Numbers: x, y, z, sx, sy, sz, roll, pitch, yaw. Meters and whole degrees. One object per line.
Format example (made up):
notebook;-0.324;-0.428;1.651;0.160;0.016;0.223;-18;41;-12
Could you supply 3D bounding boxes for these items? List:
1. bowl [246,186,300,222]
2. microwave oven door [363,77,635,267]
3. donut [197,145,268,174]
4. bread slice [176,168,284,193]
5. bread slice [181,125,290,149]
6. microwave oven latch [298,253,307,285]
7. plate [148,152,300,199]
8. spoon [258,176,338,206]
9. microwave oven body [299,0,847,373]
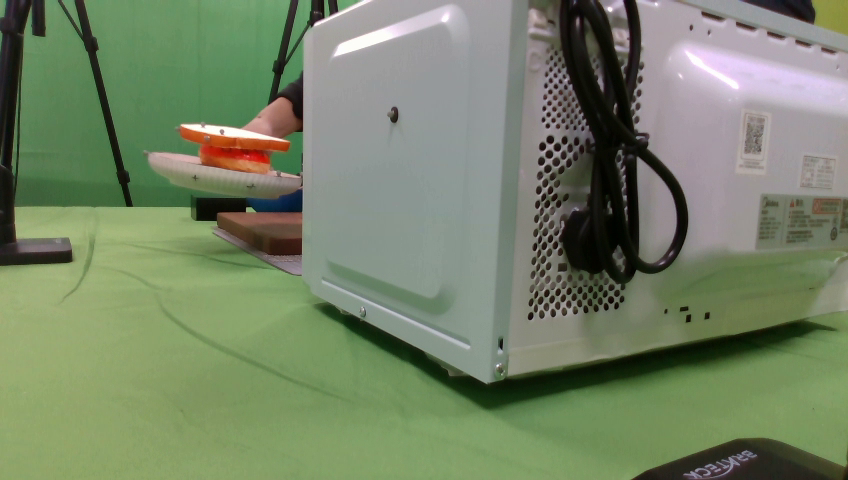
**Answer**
bowl;-0.321;-0.081;1.334;0.151;0.077;0.151;3;7;0
microwave oven door;0.091;-0.098;0.823;0.355;0.243;0.039;4;8;15
donut;-0.275;-0.116;0.871;0.099;0.048;0.099;5;-4;1
bread slice;-0.280;-0.085;0.863;0.104;0.019;0.132;11;4;23
bread slice;-0.272;-0.145;0.859;0.106;0.018;0.135;14;14;21
microwave oven latch;-0.081;0.027;0.582;0.079;0.029;0.030;-1;7;-32
plate;-0.284;-0.089;0.867;0.208;0.039;0.207;10;7;-1
spoon;-0.279;-0.112;1.357;0.194;0.021;0.041;-27;20;-27
microwave oven body;0.151;-0.055;0.543;0.444;0.260;0.324;-2;7;-33
